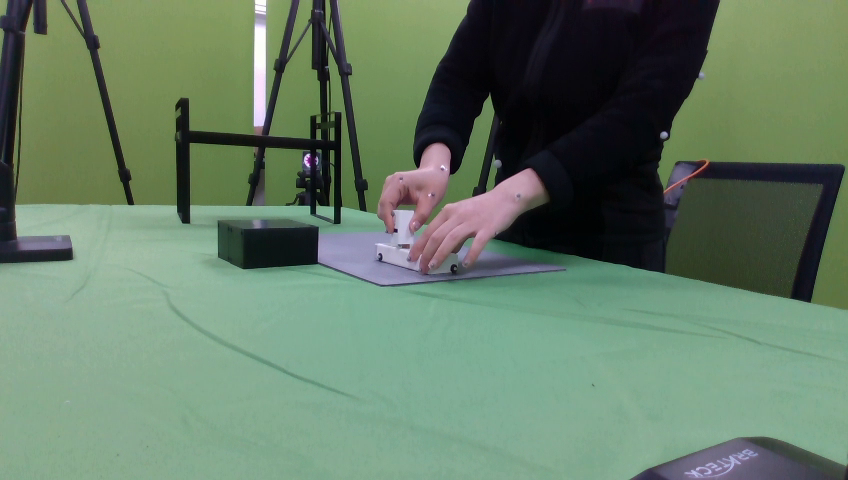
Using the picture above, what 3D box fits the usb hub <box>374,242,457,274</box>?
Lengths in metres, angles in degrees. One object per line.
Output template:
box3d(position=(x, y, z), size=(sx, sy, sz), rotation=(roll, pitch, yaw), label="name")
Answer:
box3d(position=(-0.014, 0.022, 0.798), size=(0.050, 0.025, 0.124), rotation=(-3, 9, -37), label="usb hub")

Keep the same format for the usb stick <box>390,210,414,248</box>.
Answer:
box3d(position=(-0.029, -0.010, 0.790), size=(0.027, 0.059, 0.021), rotation=(-6, 8, -37), label="usb stick")
